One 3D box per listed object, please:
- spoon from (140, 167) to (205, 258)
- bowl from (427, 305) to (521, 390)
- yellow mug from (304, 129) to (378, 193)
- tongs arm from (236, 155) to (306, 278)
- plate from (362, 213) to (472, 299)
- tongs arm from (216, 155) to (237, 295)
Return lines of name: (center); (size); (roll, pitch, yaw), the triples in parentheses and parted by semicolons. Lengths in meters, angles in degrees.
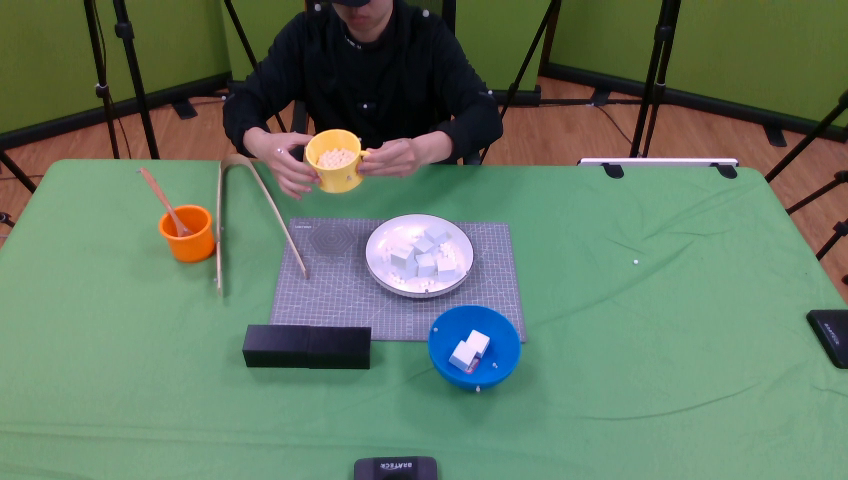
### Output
spoon: (-0.467, -0.051, 1.122); (0.041, 0.194, 0.021); (-34, 13, -28)
bowl: (0.076, 0.188, 0.985); (0.151, 0.077, 0.150); (3, 46, -3)
yellow mug: (-0.148, -0.145, 1.110); (0.131, 0.064, 0.099); (3, 56, 4)
tongs arm: (-0.311, -0.059, 1.224); (0.028, 0.028, 0.385); (-22, 50, -18)
plate: (-0.014, 0.034, 1.150); (0.208, 0.039, 0.206); (2, 46, -2)
tongs arm: (-0.388, -0.043, 1.201); (0.051, 0.026, 0.382); (-9, 46, -12)
